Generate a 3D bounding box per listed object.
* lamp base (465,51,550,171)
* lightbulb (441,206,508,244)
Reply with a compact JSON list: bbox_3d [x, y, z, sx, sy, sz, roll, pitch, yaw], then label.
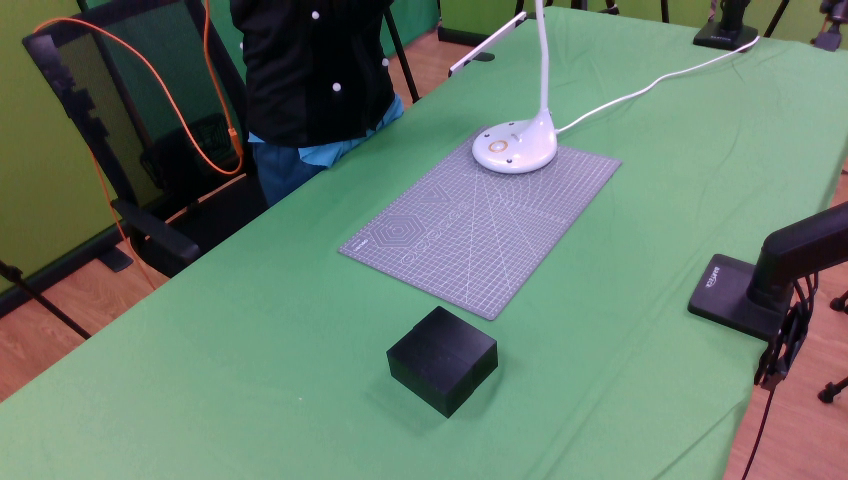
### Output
[{"bbox_3d":[0.159,-0.243,1.103,0.180,0.181,0.159,-31,46,-29],"label":"lamp base"},{"bbox_3d":[0.080,-0.017,0.953,0.107,0.059,0.059,16,44,4],"label":"lightbulb"}]
